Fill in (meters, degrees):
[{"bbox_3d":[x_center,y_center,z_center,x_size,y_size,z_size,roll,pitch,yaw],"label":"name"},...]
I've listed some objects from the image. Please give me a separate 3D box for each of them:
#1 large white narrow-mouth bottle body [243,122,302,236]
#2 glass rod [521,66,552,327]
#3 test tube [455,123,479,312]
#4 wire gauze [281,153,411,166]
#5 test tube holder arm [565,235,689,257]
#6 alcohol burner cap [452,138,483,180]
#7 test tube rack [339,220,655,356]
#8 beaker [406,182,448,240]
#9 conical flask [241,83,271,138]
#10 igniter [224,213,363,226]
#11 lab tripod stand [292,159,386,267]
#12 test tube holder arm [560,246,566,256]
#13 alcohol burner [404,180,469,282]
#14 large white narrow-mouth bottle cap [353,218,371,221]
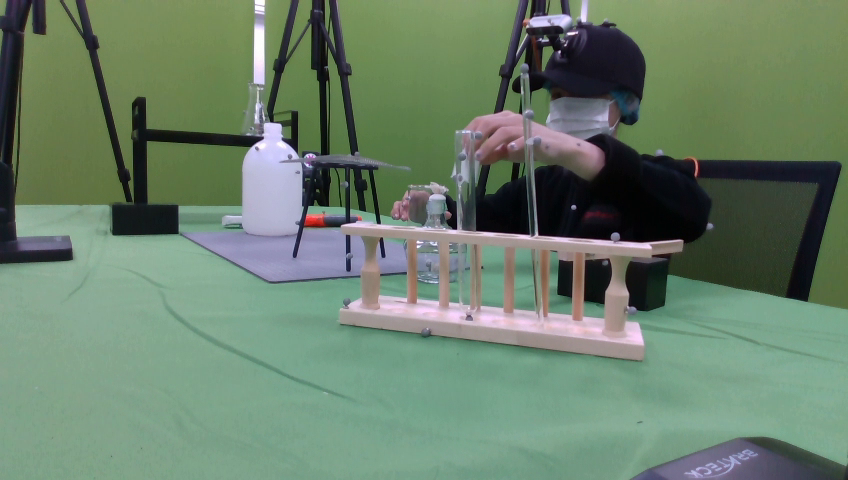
[{"bbox_3d":[-0.265,-0.109,1.061,0.102,0.194,0.102,2,8,0],"label":"large white narrow-mouth bottle body"},{"bbox_3d":[0.085,-0.028,0.454,0.008,0.199,0.008,-7,10,2],"label":"glass rod"},{"bbox_3d":[0.034,-0.016,0.476,0.017,0.150,0.017,-2,10,1],"label":"test tube"},{"bbox_3d":[-0.102,-0.105,0.785,0.121,0.011,0.126,7,7,42],"label":"wire gauze"},{"bbox_3d":[0.216,0.006,0.629,0.179,0.015,0.013,-3,11,-29],"label":"test tube holder arm"},{"bbox_3d":[0.053,-0.095,0.710,0.034,0.048,0.034,13,2,0],"label":"alcohol burner cap"},{"bbox_3d":[0.056,0.032,0.495,0.242,0.085,0.067,4,7,15],"label":"test tube rack"},{"bbox_3d":[0.008,-0.053,1.102,0.074,0.100,0.083,-6,12,-43],"label":"beaker"},{"bbox_3d":[-0.384,-0.297,1.393,0.075,0.122,0.075,2,7,0],"label":"conical flask"},{"bbox_3d":[-0.254,-0.041,1.210,0.278,0.025,0.057,-2,-2,-30],"label":"igniter"},{"bbox_3d":[-0.105,-0.039,0.797,0.148,0.131,0.148,2,5,0],"label":"lab tripod stand"},{"bbox_3d":[0.173,0.007,0.611,0.088,0.015,0.010,-3,11,-29],"label":"test tube holder arm"},{"bbox_3d":[0.015,-0.011,0.715,0.078,0.119,0.078,0,7,0],"label":"alcohol burner"},{"bbox_3d":[-0.120,-0.029,1.184,0.038,0.024,0.037,2,8,0],"label":"large white narrow-mouth bottle cap"}]
